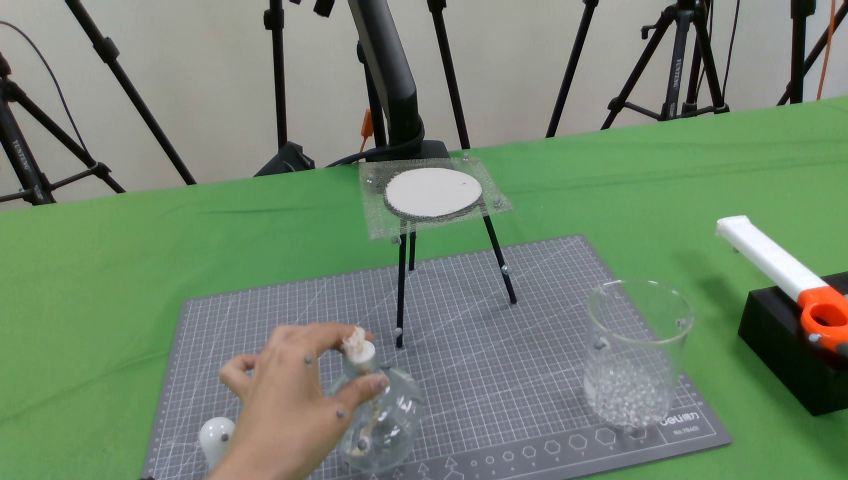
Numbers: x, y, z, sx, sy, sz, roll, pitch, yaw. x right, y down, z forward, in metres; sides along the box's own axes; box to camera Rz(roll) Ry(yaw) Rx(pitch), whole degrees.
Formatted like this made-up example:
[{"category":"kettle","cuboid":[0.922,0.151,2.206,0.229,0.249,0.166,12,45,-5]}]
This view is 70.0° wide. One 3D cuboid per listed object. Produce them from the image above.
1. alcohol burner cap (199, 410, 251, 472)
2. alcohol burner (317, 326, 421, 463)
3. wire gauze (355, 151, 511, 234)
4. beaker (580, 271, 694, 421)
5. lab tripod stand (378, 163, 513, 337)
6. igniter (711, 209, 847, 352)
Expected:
[{"category":"alcohol burner cap","cuboid":[-0.155,0.151,0.467,0.034,0.048,0.033,-3,36,3]},{"category":"alcohol burner","cuboid":[-0.042,0.105,0.439,0.078,0.120,0.077,-4,37,3]},{"category":"wire gauze","cuboid":[0.003,-0.049,0.536,0.121,0.011,0.123,-8,35,-7]},{"category":"beaker","cuboid":[0.159,0.084,0.474,0.074,0.101,0.083,-19,37,-20]},{"category":"lab tripod stand","cuboid":[0.013,0.003,0.578,0.148,0.132,0.147,-2,33,2]},{"category":"igniter","cuboid":[0.322,0.046,0.495,0.057,0.025,0.273,-9,31,-4]}]
